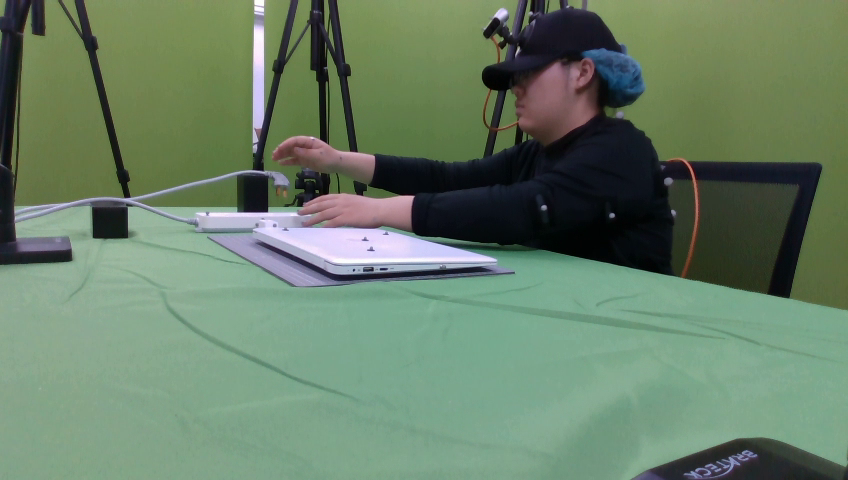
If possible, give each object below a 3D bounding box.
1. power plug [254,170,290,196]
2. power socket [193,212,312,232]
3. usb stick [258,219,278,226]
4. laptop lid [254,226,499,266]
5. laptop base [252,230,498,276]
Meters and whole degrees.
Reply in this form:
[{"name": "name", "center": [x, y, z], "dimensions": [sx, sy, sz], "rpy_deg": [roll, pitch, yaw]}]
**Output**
[{"name": "power plug", "center": [-0.323, -0.120, 1.284], "dimensions": [0.073, 0.052, 0.035], "rpy_deg": [2, -14, -13]}, {"name": "power socket", "center": [-0.322, -0.037, 1.152], "dimensions": [0.228, 0.032, 0.072], "rpy_deg": [-2, 8, -34]}, {"name": "usb stick", "center": [-0.255, -0.019, 0.996], "dimensions": [0.021, 0.027, 0.059], "rpy_deg": [-2, 12, -29]}, {"name": "laptop lid", "center": [-0.086, 0.004, 0.876], "dimensions": [0.243, 0.013, 0.355], "rpy_deg": [1, 7, -30]}, {"name": "laptop base", "center": [-0.089, 0.016, 0.876], "dimensions": [0.237, 0.023, 0.352], "rpy_deg": [2, 6, -32]}]
